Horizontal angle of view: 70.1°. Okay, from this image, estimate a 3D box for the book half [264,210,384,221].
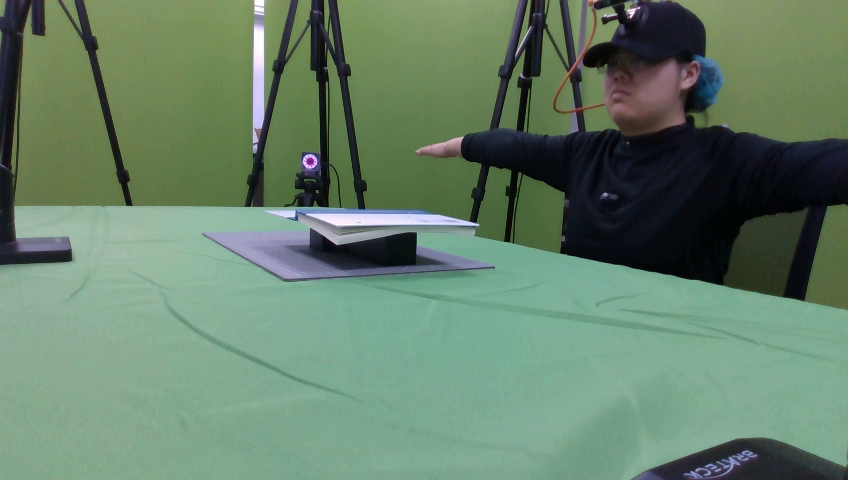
[{"bbox_3d":[-0.125,-0.038,0.944,0.211,0.007,0.142,-2,9,-32],"label":"book half"}]

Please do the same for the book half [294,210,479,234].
[{"bbox_3d":[-0.051,-0.025,0.823,0.211,0.016,0.148,-1,9,-32],"label":"book half"}]
